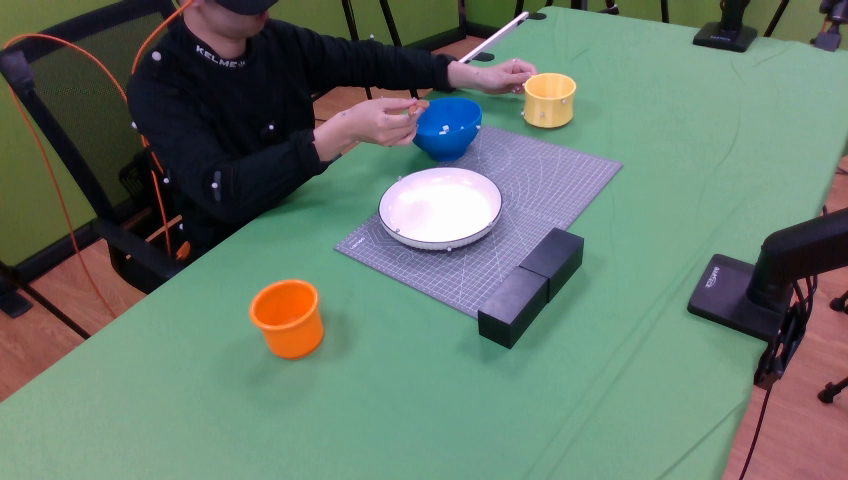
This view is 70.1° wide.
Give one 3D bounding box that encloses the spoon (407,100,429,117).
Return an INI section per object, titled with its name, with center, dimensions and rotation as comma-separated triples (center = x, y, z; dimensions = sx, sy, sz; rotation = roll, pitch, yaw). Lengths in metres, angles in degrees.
[spoon]
center = -0.017, -0.229, 1.049
dimensions = 0.041, 0.021, 0.193
rotation = -7, 14, 7

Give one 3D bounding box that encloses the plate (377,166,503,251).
[plate]
center = 0.027, -0.050, 1.007
dimensions = 0.209, 0.038, 0.208
rotation = -4, 41, 4

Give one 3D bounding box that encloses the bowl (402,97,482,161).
[bowl]
center = 0.040, -0.203, 1.154
dimensions = 0.151, 0.077, 0.150
rotation = -7, 38, 6

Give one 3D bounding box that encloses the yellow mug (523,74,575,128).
[yellow mug]
center = 0.242, -0.288, 1.218
dimensions = 0.100, 0.064, 0.129
rotation = -25, 46, -18
